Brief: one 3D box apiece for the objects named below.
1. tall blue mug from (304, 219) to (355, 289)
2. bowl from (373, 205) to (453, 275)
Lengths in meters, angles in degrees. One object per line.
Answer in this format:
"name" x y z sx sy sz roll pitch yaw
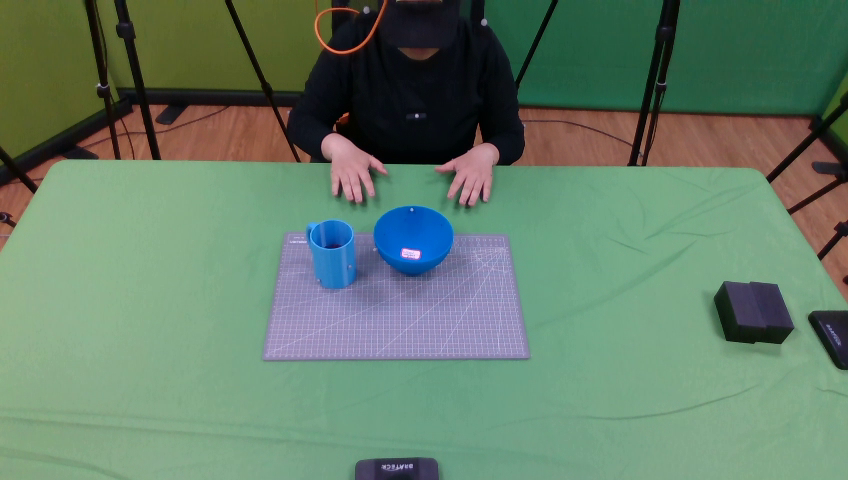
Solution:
"tall blue mug" -0.180 0.022 1.099 0.107 0.108 0.077 15 48 10
"bowl" -0.022 0.013 1.142 0.151 0.077 0.150 2 46 -2
